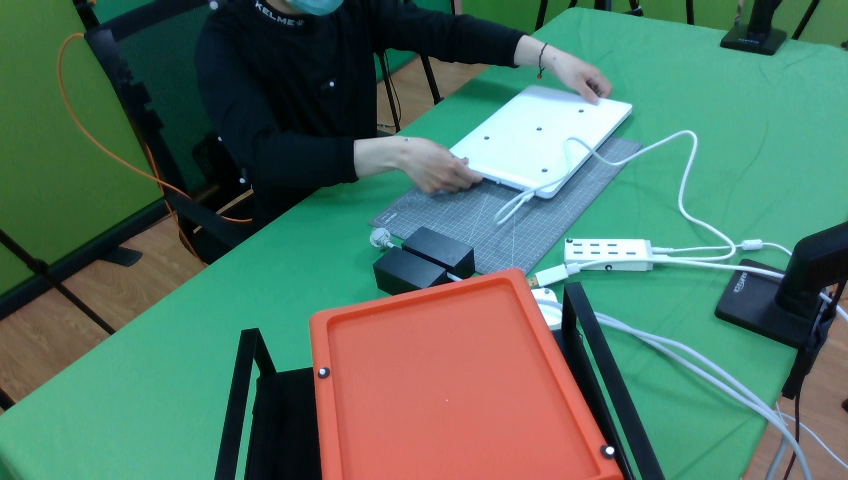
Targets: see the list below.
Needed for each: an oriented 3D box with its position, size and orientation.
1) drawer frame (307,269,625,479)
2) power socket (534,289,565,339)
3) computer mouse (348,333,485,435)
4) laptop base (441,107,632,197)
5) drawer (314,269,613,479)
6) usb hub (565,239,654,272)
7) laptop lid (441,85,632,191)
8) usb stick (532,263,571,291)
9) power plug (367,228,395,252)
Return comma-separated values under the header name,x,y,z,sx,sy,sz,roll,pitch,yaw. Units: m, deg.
name,x,y,z,sx,sy,sz,roll,pitch,yaw
drawer frame,0.019,0.135,0.487,0.202,0.083,0.212,-12,41,-7
power socket,0.081,0.112,0.822,0.227,0.033,0.072,-7,41,0
computer mouse,-0.006,0.121,0.527,0.117,0.041,0.063,20,39,14
laptop base,0.225,-0.200,1.170,0.233,0.023,0.355,20,45,31
drawer,0.018,0.135,0.490,0.195,0.073,0.210,-11,41,-6
usb hub,0.275,0.022,0.906,0.125,0.025,0.049,1,41,9
laptop lid,0.222,-0.211,1.162,0.240,0.013,0.358,22,47,32
usb stick,0.181,0.058,0.876,0.059,0.027,0.021,-33,90,-6
power plug,-0.065,0.010,0.956,0.035,0.053,0.072,-30,55,2
